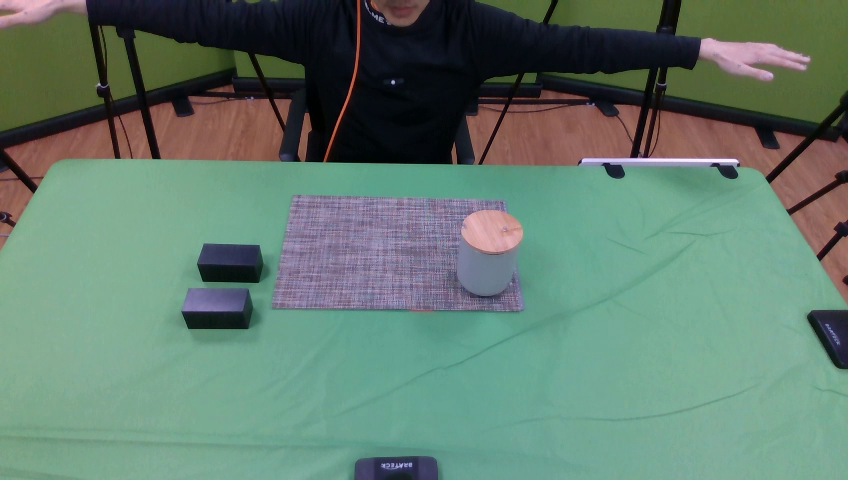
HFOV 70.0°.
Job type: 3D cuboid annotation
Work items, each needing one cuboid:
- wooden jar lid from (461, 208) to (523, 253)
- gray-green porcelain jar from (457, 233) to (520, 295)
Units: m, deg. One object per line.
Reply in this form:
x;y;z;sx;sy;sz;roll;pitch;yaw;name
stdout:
0.118;-0.013;1.053;0.108;0.021;0.107;0;43;0;wooden jar lid
0.115;0.030;1.099;0.106;0.127;0.105;2;46;-2;gray-green porcelain jar
